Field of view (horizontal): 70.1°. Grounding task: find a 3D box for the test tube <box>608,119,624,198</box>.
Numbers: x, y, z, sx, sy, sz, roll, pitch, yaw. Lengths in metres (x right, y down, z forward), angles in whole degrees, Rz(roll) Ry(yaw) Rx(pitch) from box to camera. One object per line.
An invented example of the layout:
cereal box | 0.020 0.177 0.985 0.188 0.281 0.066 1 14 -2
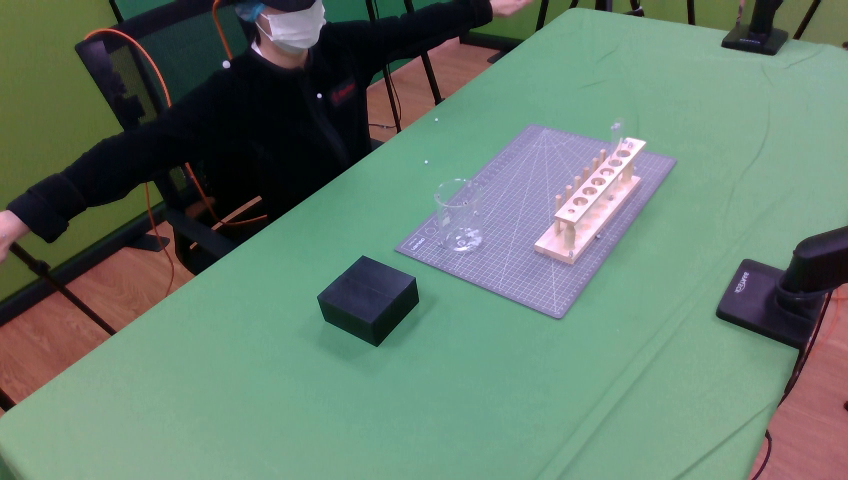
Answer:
test tube | 0.300 -0.124 0.945 0.017 0.151 0.017 -6 44 7

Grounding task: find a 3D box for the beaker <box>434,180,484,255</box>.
beaker | 0.058 -0.035 0.944 0.073 0.101 0.084 16 45 26

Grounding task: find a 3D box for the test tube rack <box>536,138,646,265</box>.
test tube rack | 0.269 -0.071 0.964 0.066 0.085 0.243 23 49 32
